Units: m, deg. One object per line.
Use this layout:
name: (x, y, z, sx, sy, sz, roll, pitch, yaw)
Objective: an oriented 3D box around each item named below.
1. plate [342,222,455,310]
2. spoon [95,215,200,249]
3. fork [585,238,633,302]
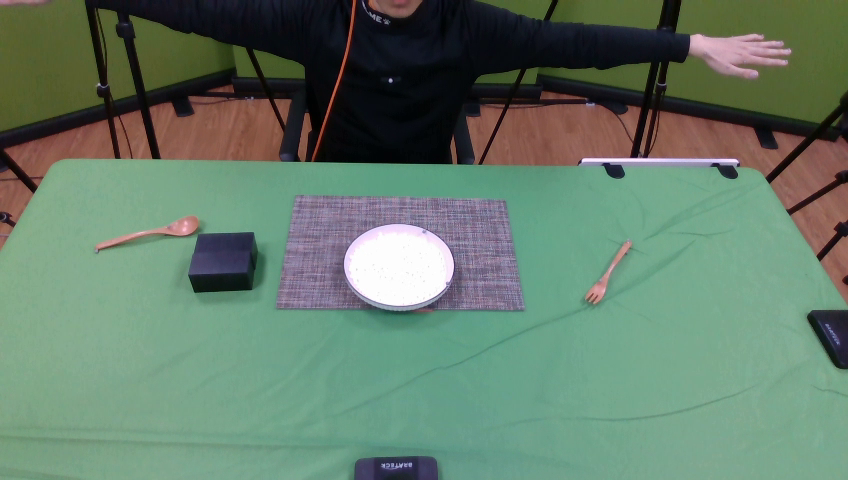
plate: (-0.047, 0.052, 1.127, 0.209, 0.038, 0.208, 2, 46, -2)
spoon: (-0.531, -0.014, 1.168, 0.194, 0.022, 0.041, -13, 65, -16)
fork: (0.362, 0.055, 1.172, 0.028, 0.019, 0.207, 21, 49, 29)
